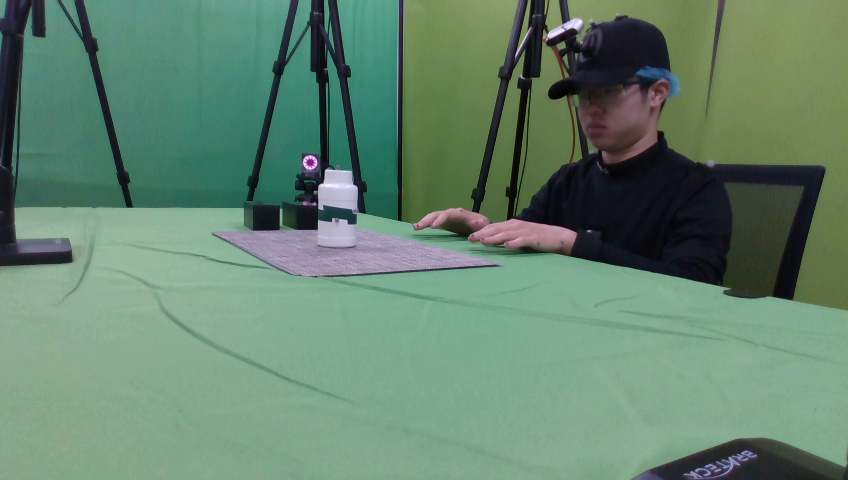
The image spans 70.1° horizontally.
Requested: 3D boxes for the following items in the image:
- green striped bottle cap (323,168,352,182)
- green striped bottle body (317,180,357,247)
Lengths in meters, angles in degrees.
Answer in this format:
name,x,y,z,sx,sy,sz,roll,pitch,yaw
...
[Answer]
name,x,y,z,sx,sy,sz,roll,pitch,yaw
green striped bottle cap,-0.137,-0.102,0.959,0.044,0.020,0.044,5,9,0
green striped bottle body,-0.139,-0.051,0.964,0.063,0.119,0.063,2,7,0
